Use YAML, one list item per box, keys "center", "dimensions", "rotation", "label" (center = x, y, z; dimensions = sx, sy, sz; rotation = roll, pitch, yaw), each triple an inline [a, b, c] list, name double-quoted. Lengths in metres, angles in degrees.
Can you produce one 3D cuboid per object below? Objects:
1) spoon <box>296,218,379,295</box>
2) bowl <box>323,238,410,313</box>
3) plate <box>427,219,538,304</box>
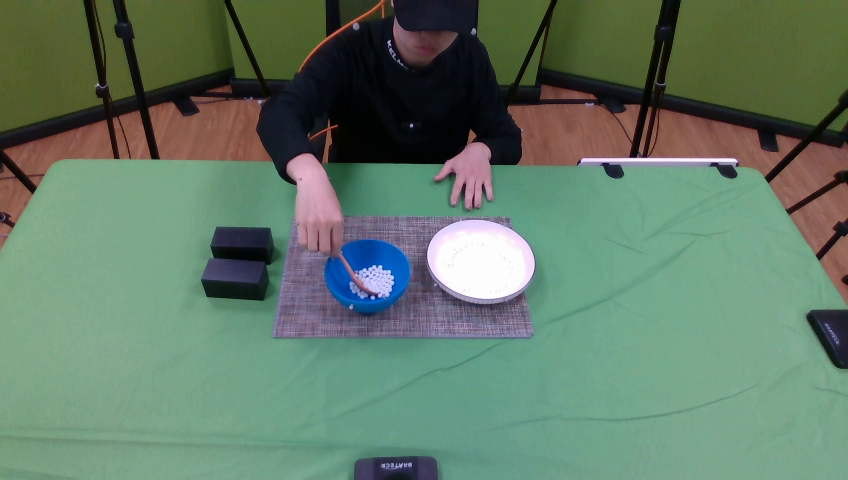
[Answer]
- center: [-0.150, 0.030, 1.055]
  dimensions: [0.021, 0.194, 0.041]
  rotation: [-41, 12, -1]
  label: "spoon"
- center: [-0.101, 0.077, 1.073]
  dimensions: [0.151, 0.077, 0.150]
  rotation: [2, 46, -2]
  label: "bowl"
- center: [0.109, 0.044, 1.149]
  dimensions: [0.208, 0.039, 0.206]
  rotation: [2, 46, -2]
  label: "plate"
